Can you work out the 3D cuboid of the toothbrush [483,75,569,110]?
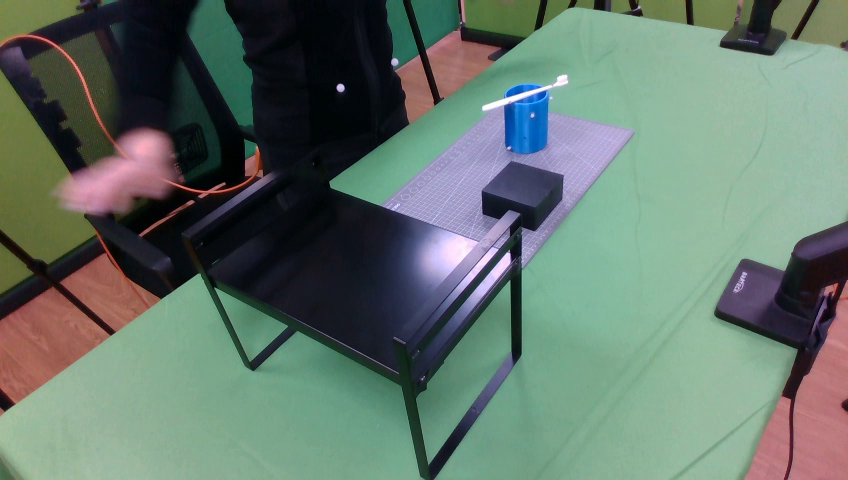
[{"bbox_3d":[0.188,-0.269,1.103,0.182,0.017,0.014,-21,48,-16],"label":"toothbrush"}]

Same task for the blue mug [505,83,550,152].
[{"bbox_3d":[0.204,-0.242,1.159,0.082,0.106,0.116,14,45,24],"label":"blue mug"}]
